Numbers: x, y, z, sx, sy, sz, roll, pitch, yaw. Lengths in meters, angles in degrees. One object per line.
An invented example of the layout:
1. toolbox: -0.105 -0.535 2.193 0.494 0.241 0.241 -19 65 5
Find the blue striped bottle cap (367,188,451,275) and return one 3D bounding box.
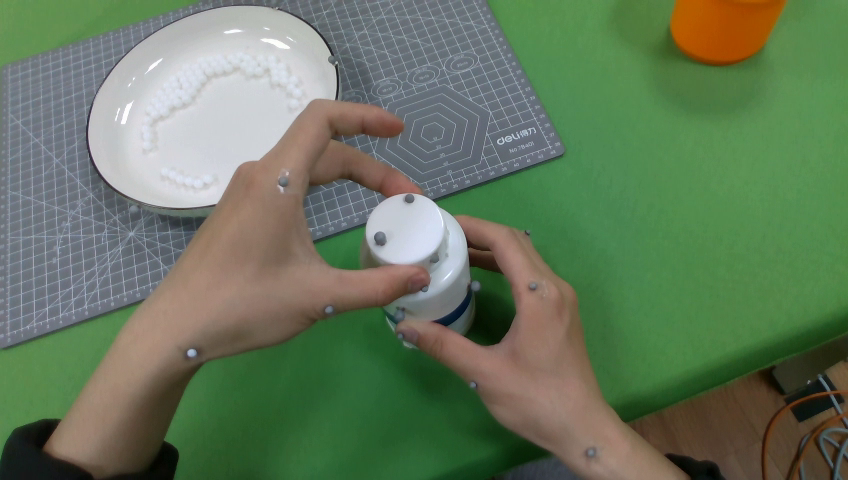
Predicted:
1. blue striped bottle cap: -0.008 -0.005 0.325 0.044 0.021 0.044 -4 65 9

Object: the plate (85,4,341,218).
1. plate: -0.167 -0.105 0.497 0.207 0.039 0.206 -3 63 6

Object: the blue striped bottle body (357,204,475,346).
1. blue striped bottle body: -0.003 0.018 0.370 0.063 0.122 0.062 -3 63 7
